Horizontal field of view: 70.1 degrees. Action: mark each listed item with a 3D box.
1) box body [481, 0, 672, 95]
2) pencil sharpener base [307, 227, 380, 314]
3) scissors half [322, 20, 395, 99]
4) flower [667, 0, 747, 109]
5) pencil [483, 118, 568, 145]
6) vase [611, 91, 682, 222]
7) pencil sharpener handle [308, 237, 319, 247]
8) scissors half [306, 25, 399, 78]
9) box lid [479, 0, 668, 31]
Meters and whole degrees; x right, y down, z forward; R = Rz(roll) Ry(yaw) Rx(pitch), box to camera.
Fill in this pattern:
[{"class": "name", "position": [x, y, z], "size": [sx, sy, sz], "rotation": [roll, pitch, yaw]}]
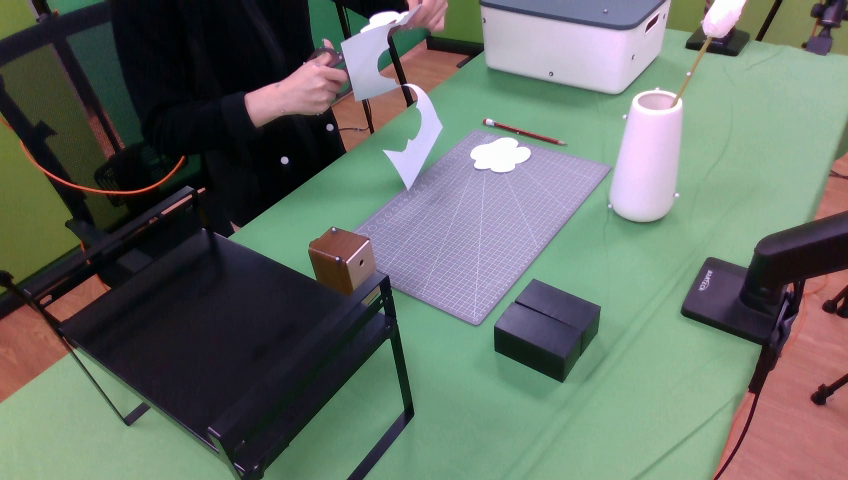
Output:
[{"class": "box body", "position": [0.341, -0.480, 1.381], "size": [0.361, 0.161, 0.255], "rotation": [22, 48, 30]}, {"class": "pencil sharpener base", "position": [-0.116, 0.043, 0.875], "size": [0.076, 0.107, 0.061], "rotation": [18, 47, 28]}, {"class": "scissors half", "position": [-0.101, -0.280, 0.944], "size": [0.040, 0.174, 0.013], "rotation": [43, 34, -10]}, {"class": "flower", "position": [0.354, -0.187, 0.879], "size": [0.038, 0.362, 0.044], "rotation": [30, 48, 14]}, {"class": "pencil", "position": [0.201, -0.217, 1.212], "size": [0.192, 0.012, 0.012], "rotation": [24, 49, 29]}, {"class": "vase", "position": [0.348, -0.125, 0.935], "size": [0.098, 0.201, 0.097], "rotation": [-3, 40, 3]}, {"class": "pencil sharpener handle", "position": [-0.158, 0.017, 0.893], "size": [0.030, 0.068, 0.036], "rotation": [18, 62, 28]}, {"class": "scissors half", "position": [-0.113, -0.296, 0.937], "size": [0.174, 0.040, 0.013], "rotation": [-15, 30, 24]}, {"class": "box lid", "position": [0.335, -0.536, 1.331], "size": [0.368, 0.015, 0.264], "rotation": [23, 49, 30]}]
